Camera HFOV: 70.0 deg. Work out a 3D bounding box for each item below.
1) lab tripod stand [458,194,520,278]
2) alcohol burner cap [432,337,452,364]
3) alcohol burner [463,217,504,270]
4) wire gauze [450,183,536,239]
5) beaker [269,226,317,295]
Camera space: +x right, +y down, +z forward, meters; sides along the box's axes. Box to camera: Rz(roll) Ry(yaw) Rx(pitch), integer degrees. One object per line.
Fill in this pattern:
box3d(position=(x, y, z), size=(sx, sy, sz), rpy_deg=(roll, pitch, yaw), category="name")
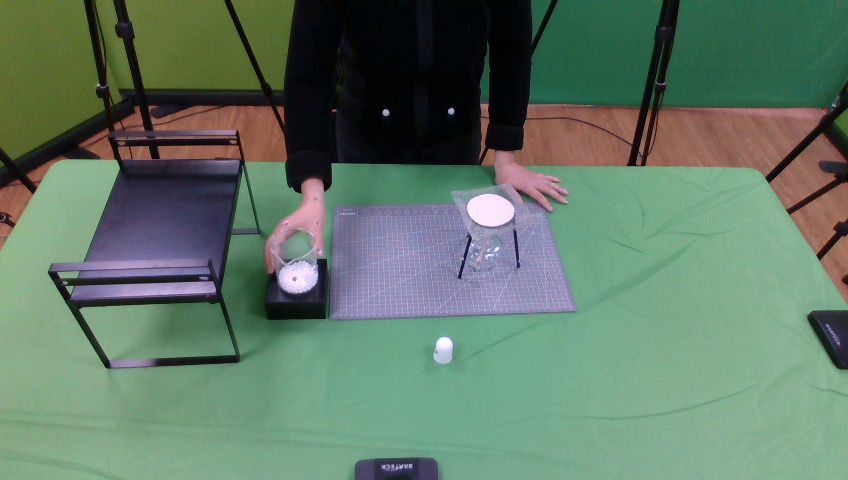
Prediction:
box3d(position=(0.115, -0.011, 1.135), size=(0.148, 0.132, 0.147), rpy_deg=(1, 45, -1), category="lab tripod stand")
box3d(position=(0.031, 0.182, 1.011), size=(0.034, 0.048, 0.033), rpy_deg=(4, 45, -4), category="alcohol burner cap")
box3d(position=(0.114, 0.000, 1.139), size=(0.078, 0.119, 0.077), rpy_deg=(3, 48, -3), category="alcohol burner")
box3d(position=(0.122, -0.057, 1.087), size=(0.121, 0.011, 0.124), rpy_deg=(-12, 47, -14), category="wire gauze")
box3d(position=(-0.218, 0.040, 1.020), size=(0.074, 0.101, 0.083), rpy_deg=(7, 47, 2), category="beaker")
